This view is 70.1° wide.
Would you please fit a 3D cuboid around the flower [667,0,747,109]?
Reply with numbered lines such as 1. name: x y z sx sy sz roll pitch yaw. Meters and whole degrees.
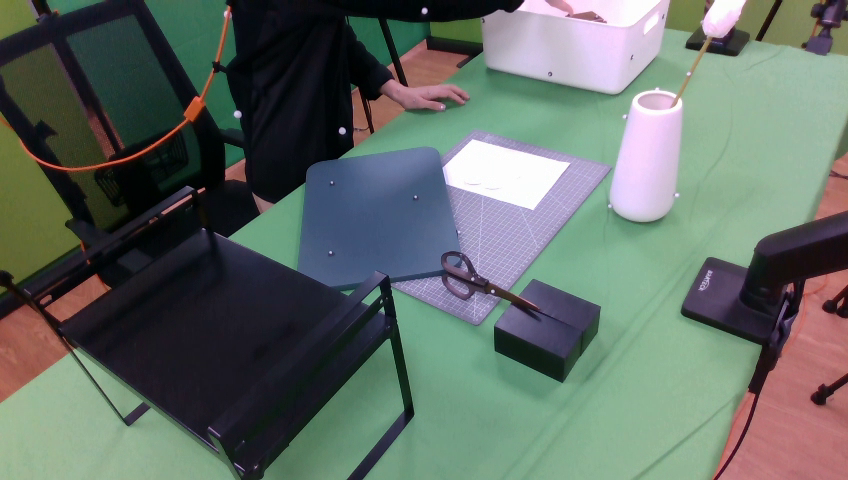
1. flower: 0.354 -0.187 0.879 0.038 0.362 0.044 30 48 14

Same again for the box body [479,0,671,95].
1. box body: 0.339 -0.480 1.381 0.361 0.161 0.255 22 48 30

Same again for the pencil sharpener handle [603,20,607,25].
1. pencil sharpener handle: 0.412 -0.477 1.381 0.031 0.068 0.035 -14 36 -8

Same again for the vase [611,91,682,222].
1. vase: 0.348 -0.125 0.935 0.098 0.201 0.097 -3 40 3

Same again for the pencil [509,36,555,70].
1. pencil: 0.263 -0.454 1.470 0.012 0.012 0.194 26 52 33

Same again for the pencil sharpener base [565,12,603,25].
1. pencil sharpener base: 0.363 -0.457 1.382 0.077 0.107 0.061 -13 41 -9

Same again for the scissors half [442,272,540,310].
1. scissors half: 0.089 0.074 0.832 0.013 0.040 0.173 -24 23 -38

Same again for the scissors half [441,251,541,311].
1. scissors half: 0.087 0.056 0.824 0.173 0.040 0.013 29 44 36

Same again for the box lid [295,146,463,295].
1. box lid: -0.084 -0.048 1.052 0.263 0.015 0.369 -9 40 0
